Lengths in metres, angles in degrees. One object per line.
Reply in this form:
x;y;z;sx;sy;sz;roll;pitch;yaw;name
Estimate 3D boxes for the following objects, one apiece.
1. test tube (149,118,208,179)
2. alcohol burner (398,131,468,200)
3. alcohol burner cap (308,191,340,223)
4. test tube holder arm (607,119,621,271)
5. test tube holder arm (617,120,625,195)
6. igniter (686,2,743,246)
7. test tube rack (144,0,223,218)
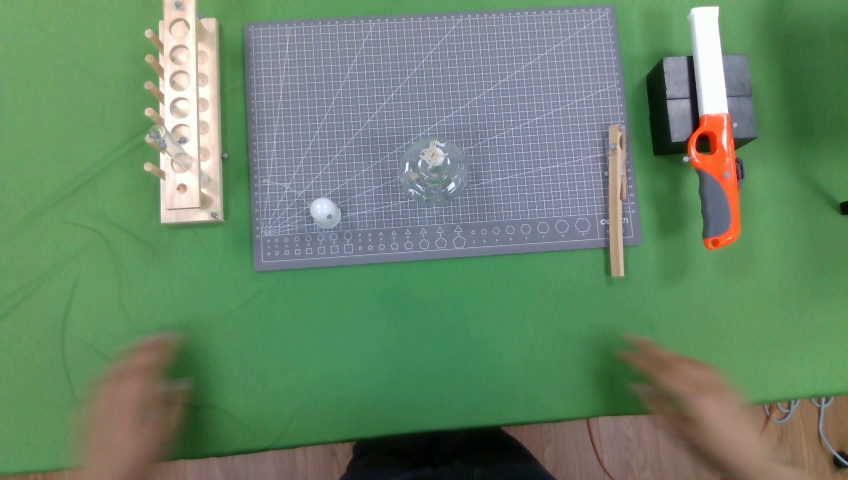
-0.244;-0.089;0.612;0.017;0.150;0.017;1;80;-5;test tube
0.010;-0.084;0.654;0.078;0.119;0.077;0;84;-1;alcohol burner
-0.113;-0.039;0.679;0.034;0.048;0.033;0;82;-2;alcohol burner cap
0.220;-0.052;0.702;0.013;0.015;0.178;9;80;-31;test tube holder arm
0.228;-0.096;0.711;0.010;0.015;0.087;9;80;-31;test tube holder arm
0.318;-0.131;0.671;0.057;0.025;0.275;-1;82;4;igniter
-0.270;-0.152;0.668;0.067;0.085;0.241;-3;83;-2;test tube rack
